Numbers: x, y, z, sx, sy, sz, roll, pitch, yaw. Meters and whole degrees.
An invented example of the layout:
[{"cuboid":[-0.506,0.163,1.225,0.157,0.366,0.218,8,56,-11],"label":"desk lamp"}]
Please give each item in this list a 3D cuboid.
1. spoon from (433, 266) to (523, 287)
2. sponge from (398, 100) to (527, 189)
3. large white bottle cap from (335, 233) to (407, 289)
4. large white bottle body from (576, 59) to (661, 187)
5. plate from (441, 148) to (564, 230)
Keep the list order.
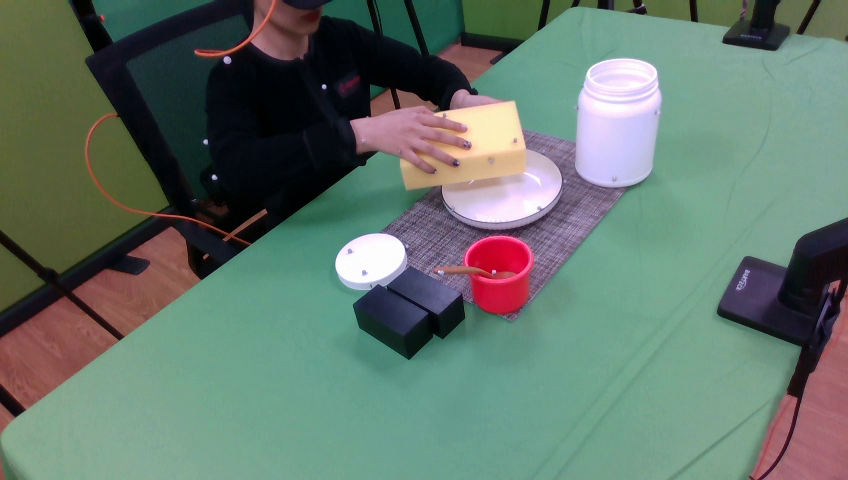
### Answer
[{"cuboid":[0.074,0.045,0.815,0.041,0.021,0.195,32,12,38],"label":"spoon"},{"cuboid":[0.063,-0.163,1.024,0.207,0.061,0.117,-8,54,1],"label":"sponge"},{"cuboid":[-0.084,0.032,0.961,0.115,0.018,0.114,-6,41,6],"label":"large white bottle cap"},{"cuboid":[0.326,-0.197,1.021,0.130,0.185,0.130,-5,40,5],"label":"large white bottle body"},{"cuboid":[0.133,-0.087,1.035,0.209,0.038,0.208,-6,44,6],"label":"plate"}]
